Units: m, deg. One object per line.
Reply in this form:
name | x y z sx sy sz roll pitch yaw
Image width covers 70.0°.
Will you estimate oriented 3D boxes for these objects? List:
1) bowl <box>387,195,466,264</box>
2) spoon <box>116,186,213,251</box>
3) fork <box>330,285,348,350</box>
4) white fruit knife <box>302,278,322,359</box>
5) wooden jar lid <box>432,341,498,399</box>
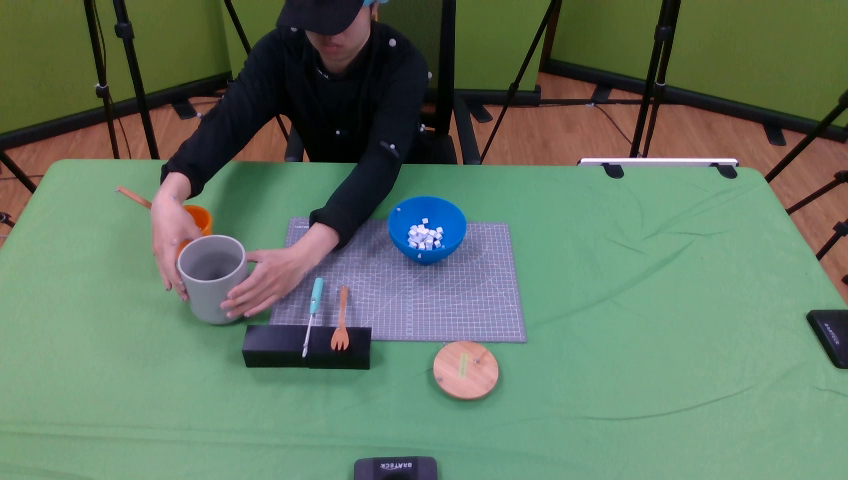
bowl | 0.003 -0.007 1.162 0.151 0.077 0.150 2 46 -2
spoon | -0.473 -0.040 1.112 0.195 0.021 0.041 43 33 -27
fork | -0.140 0.127 1.021 0.028 0.019 0.206 -5 28 -2
white fruit knife | -0.189 0.126 1.020 0.016 0.027 0.206 0 33 -3
wooden jar lid | 0.067 0.216 0.997 0.108 0.021 0.107 1 46 -1
